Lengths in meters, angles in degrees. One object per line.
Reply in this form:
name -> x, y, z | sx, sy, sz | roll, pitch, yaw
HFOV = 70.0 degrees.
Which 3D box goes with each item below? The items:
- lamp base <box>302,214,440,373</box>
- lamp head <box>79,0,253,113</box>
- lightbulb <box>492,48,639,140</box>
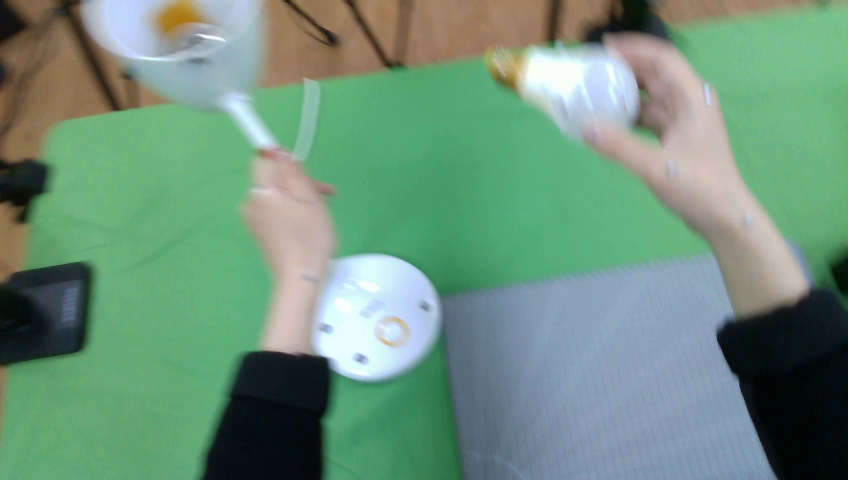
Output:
lamp base -> -0.077, 0.047, 0.675 | 0.178, 0.182, 0.160 | 35, 74, 19
lamp head -> -0.179, -0.156, 0.468 | 0.112, 0.124, 0.111 | -1, 68, 3
lightbulb -> 0.099, -0.110, 0.432 | 0.107, 0.060, 0.059 | 23, 71, 11
